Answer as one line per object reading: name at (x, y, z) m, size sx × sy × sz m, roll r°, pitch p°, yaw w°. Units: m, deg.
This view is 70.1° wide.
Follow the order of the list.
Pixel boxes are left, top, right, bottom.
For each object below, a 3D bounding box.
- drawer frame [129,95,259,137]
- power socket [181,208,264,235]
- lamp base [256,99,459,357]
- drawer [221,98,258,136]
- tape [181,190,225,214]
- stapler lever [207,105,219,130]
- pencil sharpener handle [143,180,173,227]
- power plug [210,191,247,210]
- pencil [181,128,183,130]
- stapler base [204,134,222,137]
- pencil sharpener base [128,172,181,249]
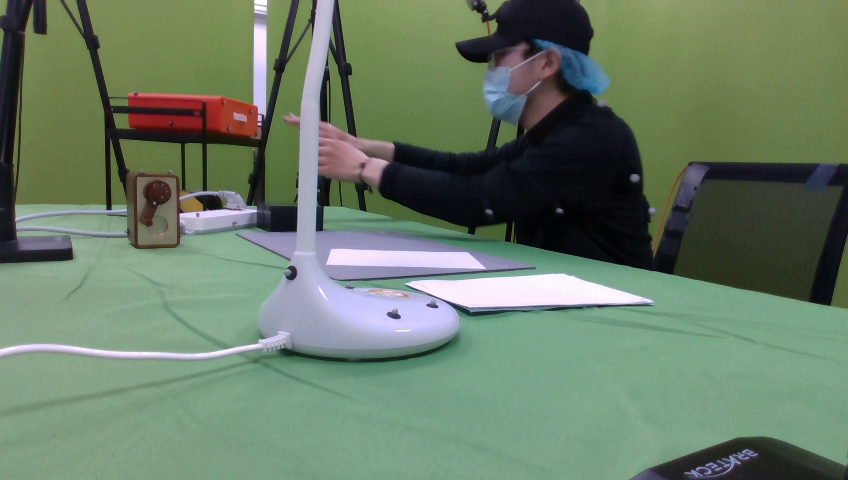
drawer frame at (-0.515, -0.281, 1.380) m, size 0.213 × 0.082 × 0.202 m, roll 3°, pitch 8°, yaw 6°
power socket at (-0.381, -0.038, 1.129) m, size 0.072 × 0.032 × 0.227 m, roll 4°, pitch 8°, yaw 17°
lamp base at (-0.055, -0.013, 0.463) m, size 0.160 × 0.180 × 0.180 m, roll 6°, pitch 11°, yaw 27°
drawer at (-0.513, -0.280, 1.382) m, size 0.212 × 0.073 × 0.194 m, roll 3°, pitch 8°, yaw 7°
tape at (-0.515, -0.087, 1.388) m, size 0.117 × 0.052 × 0.117 m, roll 3°, pitch 7°, yaw 0°
stapler lever at (-0.484, -0.281, 1.388) m, size 0.027 × 0.040 × 0.117 m, roll 4°, pitch 0°, yaw -19°
pencil sharpener handle at (-0.371, -0.050, 0.840) m, size 0.036 × 0.067 × 0.030 m, roll 24°, pitch -5°, yaw -34°
power plug at (-0.386, -0.071, 1.204) m, size 0.072 × 0.052 × 0.035 m, roll 7°, pitch 8°, yaw 26°
pencil at (-0.548, -0.255, 1.368) m, size 0.012 × 0.012 × 0.193 m, roll -1°, pitch 12°, yaw -22°
stapler base at (-0.484, -0.256, 1.387) m, size 0.041 × 0.024 × 0.130 m, roll 4°, pitch -1°, yaw -19°
pencil sharpener base at (-0.395, -0.044, 0.887) m, size 0.062 × 0.107 × 0.076 m, roll -2°, pitch 9°, yaw -34°
